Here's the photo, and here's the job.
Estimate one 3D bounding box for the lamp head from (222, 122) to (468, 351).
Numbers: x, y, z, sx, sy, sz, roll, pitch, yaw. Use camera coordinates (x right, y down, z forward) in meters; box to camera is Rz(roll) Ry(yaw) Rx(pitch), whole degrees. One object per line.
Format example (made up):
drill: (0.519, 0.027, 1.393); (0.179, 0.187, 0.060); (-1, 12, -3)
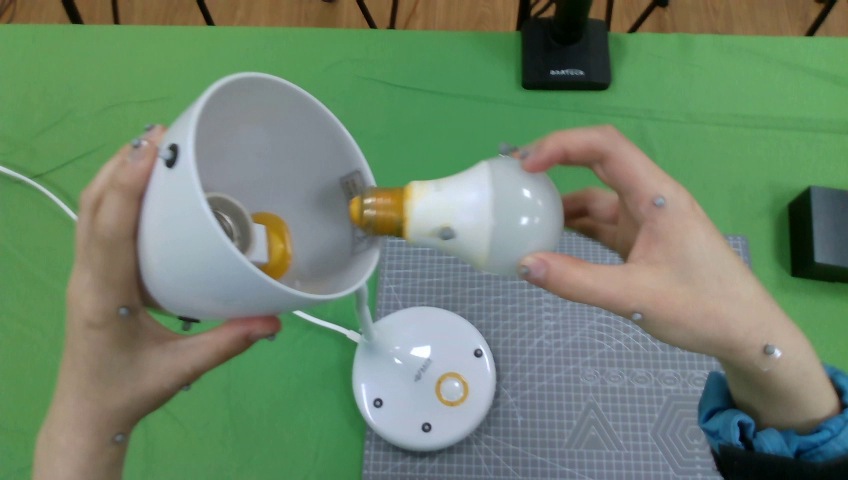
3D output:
lamp head: (-0.051, 0.013, 0.331); (0.113, 0.123, 0.111); (22, 54, -33)

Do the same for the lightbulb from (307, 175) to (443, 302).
lightbulb: (-0.036, 0.006, 0.301); (0.060, 0.107, 0.059); (17, 63, -36)

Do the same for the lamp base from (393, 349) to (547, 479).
lamp base: (0.041, 0.165, 0.616); (0.179, 0.182, 0.159); (9, 66, 10)
